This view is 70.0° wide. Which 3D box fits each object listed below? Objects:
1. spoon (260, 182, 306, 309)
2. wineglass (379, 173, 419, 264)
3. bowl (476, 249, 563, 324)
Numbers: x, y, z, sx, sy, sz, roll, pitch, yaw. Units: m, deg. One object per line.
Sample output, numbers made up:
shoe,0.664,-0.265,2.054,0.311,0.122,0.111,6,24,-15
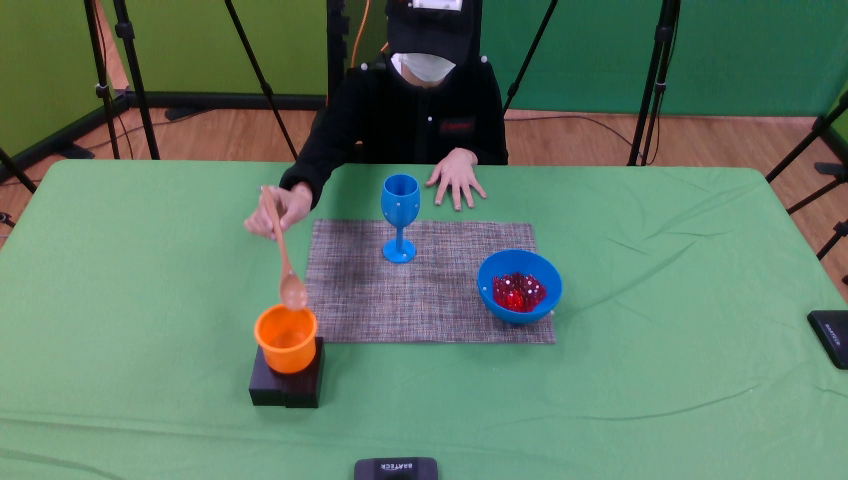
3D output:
spoon,-0.212,0.008,0.899,0.042,0.193,0.021,-14,3,-29
wineglass,-0.046,-0.036,1.120,0.074,0.173,0.073,2,46,-2
bowl,0.163,0.096,1.074,0.151,0.077,0.150,2,46,-2
